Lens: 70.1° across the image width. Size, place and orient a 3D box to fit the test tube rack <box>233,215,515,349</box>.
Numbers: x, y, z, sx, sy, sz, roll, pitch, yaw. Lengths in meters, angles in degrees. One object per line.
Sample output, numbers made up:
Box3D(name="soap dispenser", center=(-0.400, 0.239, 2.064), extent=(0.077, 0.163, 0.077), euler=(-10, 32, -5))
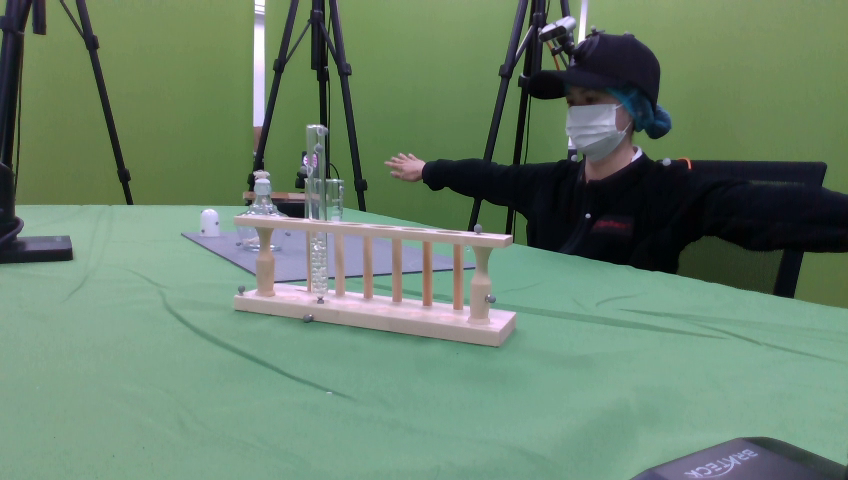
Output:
Box3D(name="test tube rack", center=(-0.045, 0.029, 0.526), extent=(0.242, 0.085, 0.067), euler=(5, 8, 19))

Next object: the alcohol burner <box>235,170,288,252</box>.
Box3D(name="alcohol burner", center=(-0.236, -0.042, 0.882), extent=(0.078, 0.119, 0.078), euler=(2, 9, 0))

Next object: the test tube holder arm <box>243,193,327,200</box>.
Box3D(name="test tube holder arm", center=(-0.287, -0.090, 1.261), extent=(0.179, 0.015, 0.013), euler=(-2, 3, -33))

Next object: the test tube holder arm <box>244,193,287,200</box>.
Box3D(name="test tube holder arm", center=(-0.322, -0.089, 1.232), extent=(0.088, 0.015, 0.010), euler=(-2, 3, -32))

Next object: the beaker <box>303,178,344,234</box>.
Box3D(name="beaker", center=(-0.189, -0.063, 1.119), extent=(0.073, 0.100, 0.084), euler=(6, 9, 28))

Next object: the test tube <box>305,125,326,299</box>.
Box3D(name="test tube", center=(-0.093, -0.023, 0.520), extent=(0.017, 0.150, 0.017), euler=(0, 7, 0))

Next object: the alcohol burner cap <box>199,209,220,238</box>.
Box3D(name="alcohol burner cap", center=(-0.356, -0.027, 1.002), extent=(0.034, 0.048, 0.034), euler=(2, 7, 0))
